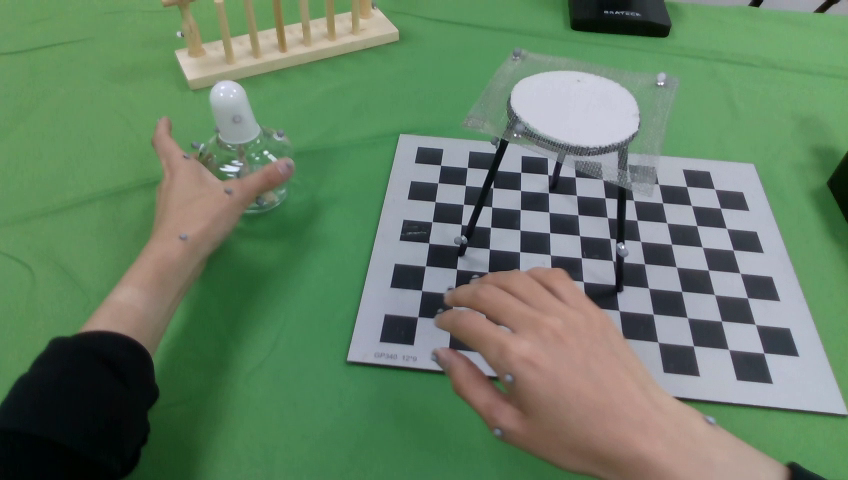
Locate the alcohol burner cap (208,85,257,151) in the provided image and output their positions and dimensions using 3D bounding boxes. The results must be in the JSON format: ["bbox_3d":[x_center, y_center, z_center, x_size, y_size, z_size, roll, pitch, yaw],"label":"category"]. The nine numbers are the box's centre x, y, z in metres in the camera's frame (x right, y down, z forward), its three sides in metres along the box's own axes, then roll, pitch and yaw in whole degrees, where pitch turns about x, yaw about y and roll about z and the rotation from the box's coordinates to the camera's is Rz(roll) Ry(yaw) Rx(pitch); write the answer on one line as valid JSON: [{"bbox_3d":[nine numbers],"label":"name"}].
[{"bbox_3d":[-0.152,-0.097,0.473,0.034,0.048,0.033,-1,47,1],"label":"alcohol burner cap"}]

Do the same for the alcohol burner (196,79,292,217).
[{"bbox_3d":[-0.151,-0.077,0.497,0.078,0.120,0.077,0,48,1],"label":"alcohol burner"}]

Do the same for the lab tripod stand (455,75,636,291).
[{"bbox_3d":[0.101,-0.042,0.455,0.148,0.132,0.147,2,47,-2],"label":"lab tripod stand"}]

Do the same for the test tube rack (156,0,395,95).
[{"bbox_3d":[-0.155,-0.243,0.668,0.243,0.086,0.066,-20,52,-19],"label":"test tube rack"}]

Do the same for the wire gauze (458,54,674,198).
[{"bbox_3d":[0.098,-0.086,0.403,0.124,0.011,0.121,19,49,13],"label":"wire gauze"}]
